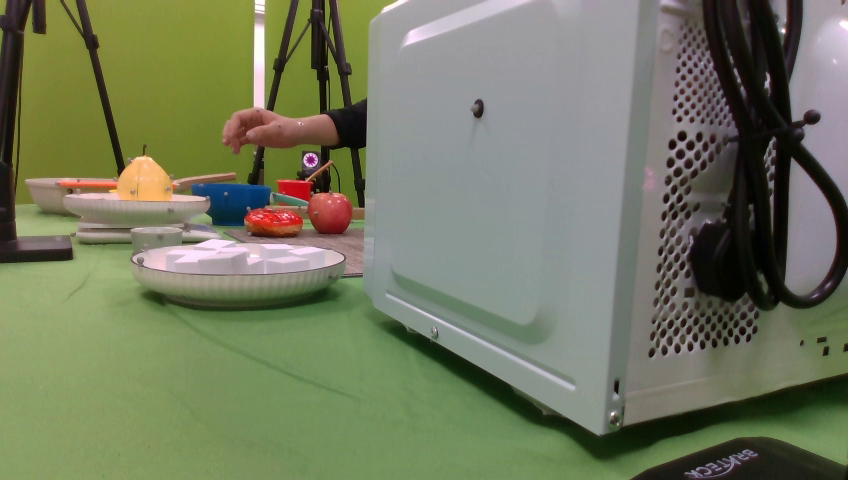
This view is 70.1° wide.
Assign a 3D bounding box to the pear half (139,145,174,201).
[{"bbox_3d":[-0.423,-0.094,0.949,0.056,0.110,0.076,-3,12,-33],"label":"pear half"}]

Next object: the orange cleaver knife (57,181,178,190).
[{"bbox_3d":[-0.600,-0.109,1.189,0.212,0.012,0.077,-1,11,-26],"label":"orange cleaver knife"}]

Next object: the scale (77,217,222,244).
[{"bbox_3d":[-0.434,-0.019,0.963,0.202,0.031,0.148,-1,8,-27],"label":"scale"}]

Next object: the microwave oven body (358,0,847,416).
[{"bbox_3d":[0.211,-0.047,0.474,0.444,0.260,0.324,-1,7,-28],"label":"microwave oven body"}]

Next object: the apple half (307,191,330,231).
[{"bbox_3d":[-0.197,-0.055,1.115,0.032,0.081,0.081,9,10,21],"label":"apple half"}]

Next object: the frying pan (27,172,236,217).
[{"bbox_3d":[-0.624,-0.118,1.387,0.305,0.102,0.490,8,17,32],"label":"frying pan"}]

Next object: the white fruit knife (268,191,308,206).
[{"bbox_3d":[-0.364,-0.105,1.464,0.208,0.027,0.016,15,-1,-34],"label":"white fruit knife"}]

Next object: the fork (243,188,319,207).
[{"bbox_3d":[-0.356,-0.105,1.526,0.208,0.018,0.028,16,-6,-41],"label":"fork"}]

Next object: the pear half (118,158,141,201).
[{"bbox_3d":[-0.454,-0.083,0.932,0.031,0.088,0.070,-2,11,-34],"label":"pear half"}]

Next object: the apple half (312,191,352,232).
[{"bbox_3d":[-0.160,-0.050,1.101,0.053,0.074,0.081,9,7,23],"label":"apple half"}]

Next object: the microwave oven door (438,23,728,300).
[{"bbox_3d":[0.181,-0.073,0.621,0.358,0.243,0.039,-2,8,-29],"label":"microwave oven door"}]

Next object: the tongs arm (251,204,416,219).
[{"bbox_3d":[-0.211,-0.068,1.440,0.389,0.027,0.028,1,-1,-17],"label":"tongs arm"}]

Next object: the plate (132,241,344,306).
[{"bbox_3d":[-0.187,0.033,0.625,0.208,0.039,0.207,2,7,0],"label":"plate"}]

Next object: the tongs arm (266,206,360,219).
[{"bbox_3d":[-0.174,-0.061,1.363,0.387,0.026,0.050,-1,3,-31],"label":"tongs arm"}]

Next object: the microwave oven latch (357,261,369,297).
[{"bbox_3d":[-0.019,0.033,0.530,0.079,0.029,0.030,-1,7,-27],"label":"microwave oven latch"}]

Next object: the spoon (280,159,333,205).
[{"bbox_3d":[-0.317,-0.159,1.640,0.194,0.022,0.041,-49,32,-20],"label":"spoon"}]

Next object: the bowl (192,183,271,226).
[{"bbox_3d":[-0.382,-0.071,1.202,0.151,0.077,0.151,3,7,0],"label":"bowl"}]

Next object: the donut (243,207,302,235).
[{"bbox_3d":[-0.261,-0.032,1.043,0.099,0.048,0.099,4,9,0],"label":"donut"}]

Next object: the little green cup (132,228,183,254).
[{"bbox_3d":[-0.342,0.006,0.779,0.061,0.038,0.061,2,8,0],"label":"little green cup"}]

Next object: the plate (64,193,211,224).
[{"bbox_3d":[-0.446,-0.050,0.951,0.209,0.038,0.209,2,7,0],"label":"plate"}]

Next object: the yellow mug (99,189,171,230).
[{"bbox_3d":[-0.519,-0.055,1.080,0.099,0.064,0.131,7,10,26],"label":"yellow mug"}]
